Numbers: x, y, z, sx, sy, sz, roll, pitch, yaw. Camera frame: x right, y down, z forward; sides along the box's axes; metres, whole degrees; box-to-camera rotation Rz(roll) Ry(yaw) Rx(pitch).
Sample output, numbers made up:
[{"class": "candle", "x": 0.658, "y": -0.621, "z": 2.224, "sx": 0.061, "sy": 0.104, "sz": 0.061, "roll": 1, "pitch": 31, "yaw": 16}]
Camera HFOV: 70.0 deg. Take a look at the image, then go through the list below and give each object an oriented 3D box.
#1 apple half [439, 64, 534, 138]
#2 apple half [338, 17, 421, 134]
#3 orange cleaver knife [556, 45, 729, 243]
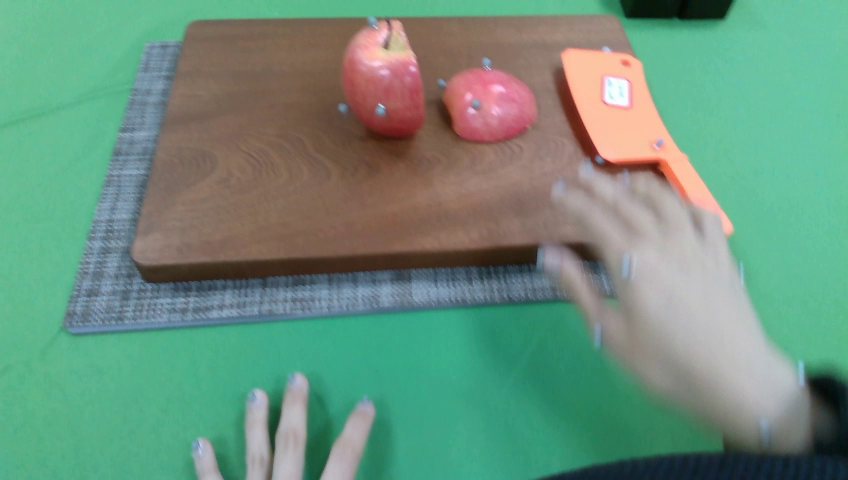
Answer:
[{"class": "apple half", "x": 0.051, "y": -0.120, "z": 0.485, "sx": 0.081, "sy": 0.033, "sz": 0.080, "roll": 0, "pitch": 55, "yaw": 0}, {"class": "apple half", "x": -0.037, "y": -0.119, "z": 0.455, "sx": 0.053, "sy": 0.075, "sz": 0.080, "roll": -15, "pitch": 61, "yaw": -8}, {"class": "orange cleaver knife", "x": 0.164, "y": -0.084, "z": 0.474, "sx": 0.077, "sy": 0.012, "sz": 0.209, "roll": -8, "pitch": 58, "yaw": -12}]
